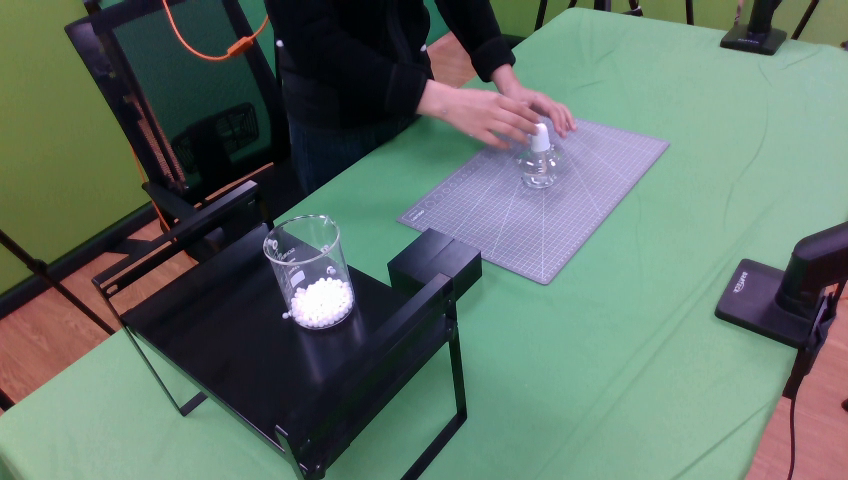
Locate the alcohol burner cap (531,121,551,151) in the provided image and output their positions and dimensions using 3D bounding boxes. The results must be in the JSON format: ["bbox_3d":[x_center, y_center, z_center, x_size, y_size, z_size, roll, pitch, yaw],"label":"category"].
[{"bbox_3d":[0.196,-0.178,1.025,0.034,0.048,0.033,-9,40,8],"label":"alcohol burner cap"}]

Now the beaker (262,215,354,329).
[{"bbox_3d":[-0.112,0.034,0.616,0.073,0.101,0.084,13,44,23],"label":"beaker"}]

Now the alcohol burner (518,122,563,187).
[{"bbox_3d":[0.201,-0.152,1.046,0.078,0.119,0.077,-5,42,5],"label":"alcohol burner"}]
